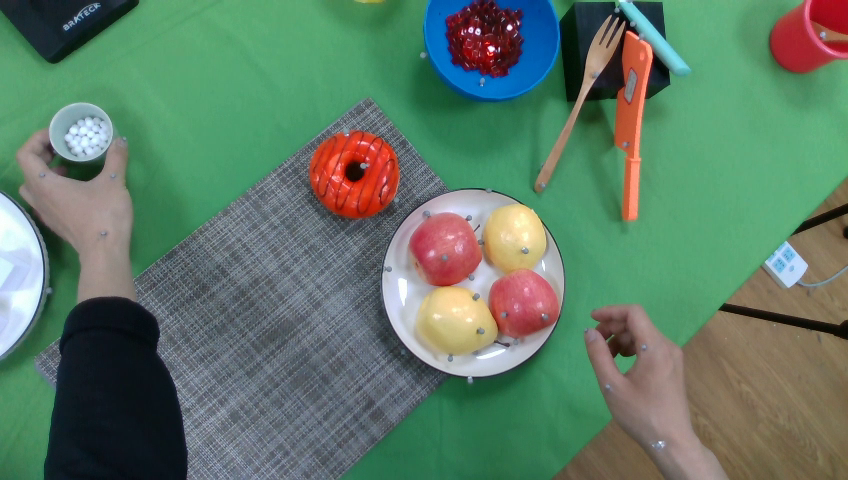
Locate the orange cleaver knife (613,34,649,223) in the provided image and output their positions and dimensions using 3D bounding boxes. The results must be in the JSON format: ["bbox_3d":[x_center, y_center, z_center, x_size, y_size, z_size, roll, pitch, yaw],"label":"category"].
[{"bbox_3d":[0.234,-0.126,0.699,0.012,0.076,0.212,-4,110,-4],"label":"orange cleaver knife"}]

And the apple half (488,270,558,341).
[{"bbox_3d":[0.104,0.074,0.660,0.081,0.033,0.081,1,97,13],"label":"apple half"}]

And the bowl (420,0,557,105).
[{"bbox_3d":[0.065,-0.217,0.685,0.152,0.077,0.151,1,85,-9],"label":"bowl"}]

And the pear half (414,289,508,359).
[{"bbox_3d":[0.048,0.096,0.654,0.110,0.056,0.076,23,85,-11],"label":"pear half"}]

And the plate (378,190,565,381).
[{"bbox_3d":[0.052,0.049,0.674,0.209,0.038,0.208,1,84,-8],"label":"plate"}]

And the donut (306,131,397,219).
[{"bbox_3d":[-0.079,-0.070,0.662,0.099,0.048,0.099,0,86,-6],"label":"donut"}]

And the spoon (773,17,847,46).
[{"bbox_3d":[0.514,-0.233,0.720,0.041,0.022,0.191,-47,48,-10],"label":"spoon"}]

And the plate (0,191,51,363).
[{"bbox_3d":[-0.477,0.039,0.599,0.208,0.039,0.207,1,84,-8],"label":"plate"}]

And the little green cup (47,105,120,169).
[{"bbox_3d":[-0.351,-0.104,0.630,0.061,0.039,0.061,1,80,-5],"label":"little green cup"}]

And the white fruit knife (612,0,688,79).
[{"bbox_3d":[0.230,-0.265,0.696,0.207,0.016,0.027,50,51,1],"label":"white fruit knife"}]

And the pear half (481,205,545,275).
[{"bbox_3d":[0.098,0.006,0.670,0.070,0.031,0.088,-8,99,15],"label":"pear half"}]

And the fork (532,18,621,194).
[{"bbox_3d":[0.169,-0.148,0.689,0.028,0.018,0.208,19,102,-14],"label":"fork"}]

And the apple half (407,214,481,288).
[{"bbox_3d":[0.023,0.013,0.655,0.075,0.053,0.081,-23,91,-9],"label":"apple half"}]

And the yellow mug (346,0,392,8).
[{"bbox_3d":[-0.079,-0.329,0.680,0.131,0.064,0.099,17,82,-6],"label":"yellow mug"}]
